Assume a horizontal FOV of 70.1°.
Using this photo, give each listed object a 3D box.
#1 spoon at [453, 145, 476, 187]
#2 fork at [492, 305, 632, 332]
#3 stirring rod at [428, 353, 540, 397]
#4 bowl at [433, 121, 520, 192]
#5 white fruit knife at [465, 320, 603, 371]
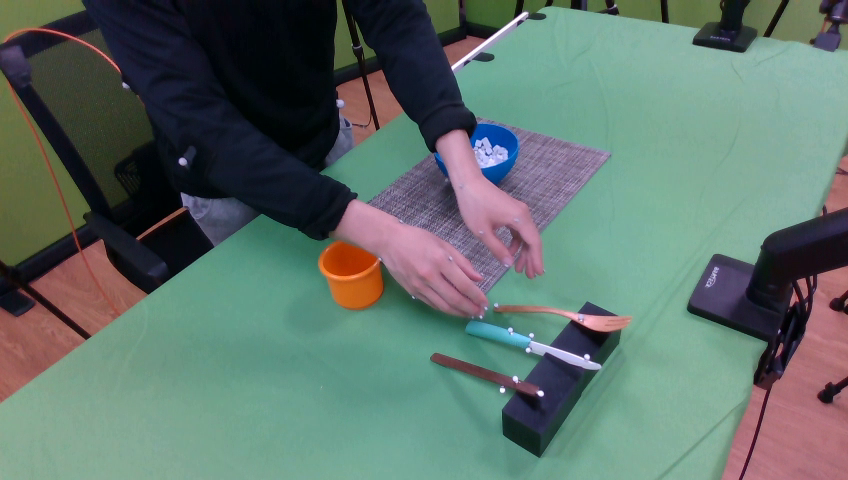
[{"bbox_3d":[0.069,-0.125,1.000,0.041,0.022,0.193,-10,21,6],"label":"spoon"},{"bbox_3d":[0.171,0.097,0.783,0.205,0.019,0.028,4,39,43],"label":"fork"},{"bbox_3d":[0.068,0.162,0.736,0.174,0.006,0.014,8,40,46],"label":"stirring rod"},{"bbox_3d":[0.094,-0.137,1.064,0.151,0.077,0.150,-4,41,4],"label":"bowl"},{"bbox_3d":[0.128,0.129,0.749,0.205,0.027,0.016,10,44,43],"label":"white fruit knife"}]
